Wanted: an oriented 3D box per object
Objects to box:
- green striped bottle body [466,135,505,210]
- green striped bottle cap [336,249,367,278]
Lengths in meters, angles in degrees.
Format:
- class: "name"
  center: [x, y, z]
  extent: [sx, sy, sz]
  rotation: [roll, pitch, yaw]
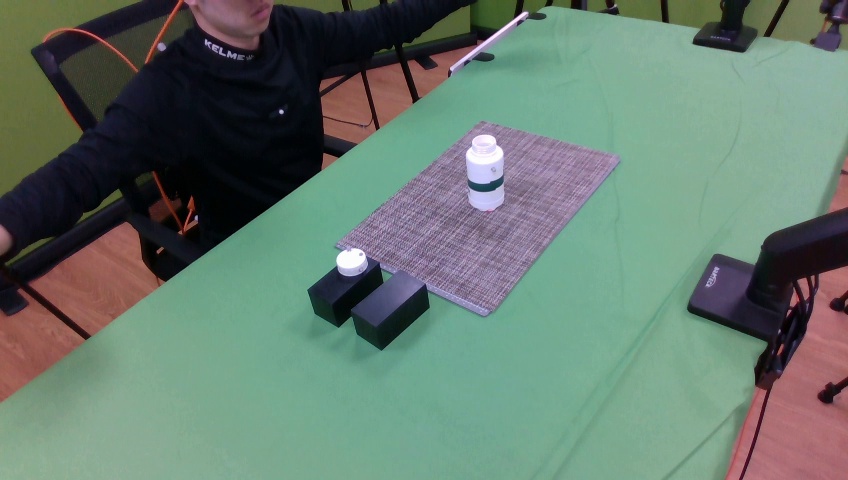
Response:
- class: "green striped bottle body"
  center: [0.102, -0.114, 1.006]
  extent: [0.063, 0.120, 0.063]
  rotation: [-4, 40, 4]
- class: "green striped bottle cap"
  center: [-0.105, 0.033, 0.873]
  extent: [0.044, 0.020, 0.044]
  rotation: [-5, 42, 5]
